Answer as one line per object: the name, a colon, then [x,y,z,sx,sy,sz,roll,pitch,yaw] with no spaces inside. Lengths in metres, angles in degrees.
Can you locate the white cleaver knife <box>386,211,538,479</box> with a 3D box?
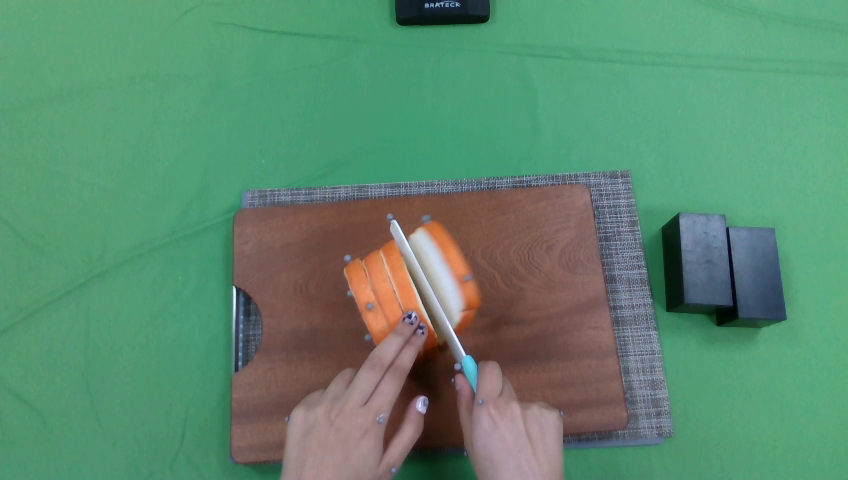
white cleaver knife: [0.031,0.098,0.568,0.021,0.066,0.285,-25,77,-6]

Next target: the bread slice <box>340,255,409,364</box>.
bread slice: [-0.048,0.066,0.579,0.019,0.132,0.104,-26,74,-3]

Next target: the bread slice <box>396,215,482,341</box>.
bread slice: [0.013,0.038,0.587,0.018,0.134,0.106,-23,78,-24]
